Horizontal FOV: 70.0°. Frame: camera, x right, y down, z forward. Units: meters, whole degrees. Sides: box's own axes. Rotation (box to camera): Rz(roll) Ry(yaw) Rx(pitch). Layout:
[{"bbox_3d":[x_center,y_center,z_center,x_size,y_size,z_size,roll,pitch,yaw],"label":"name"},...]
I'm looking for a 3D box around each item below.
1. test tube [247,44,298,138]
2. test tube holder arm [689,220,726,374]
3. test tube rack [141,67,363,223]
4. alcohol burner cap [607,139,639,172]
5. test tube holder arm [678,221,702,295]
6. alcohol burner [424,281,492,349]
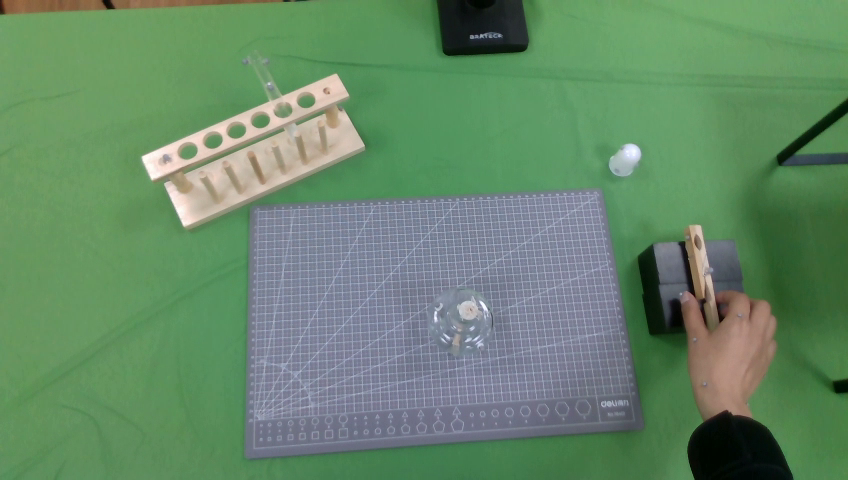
[{"bbox_3d":[-0.170,-0.166,0.697,0.017,0.151,0.017,-3,63,6],"label":"test tube"},{"bbox_3d":[0.321,0.063,0.693,0.013,0.015,0.177,-5,74,-4],"label":"test tube holder arm"},{"bbox_3d":[-0.199,-0.114,0.733,0.242,0.085,0.066,-26,75,-11],"label":"test tube rack"},{"bbox_3d":[0.259,-0.111,0.782,0.034,0.048,0.033,1,72,-1],"label":"alcohol burner cap"},{"bbox_3d":[0.312,0.021,0.705,0.010,0.015,0.087,-4,74,-4],"label":"test tube holder arm"},{"bbox_3d":[0.039,0.080,0.669,0.078,0.119,0.077,1,73,-3],"label":"alcohol burner"}]
